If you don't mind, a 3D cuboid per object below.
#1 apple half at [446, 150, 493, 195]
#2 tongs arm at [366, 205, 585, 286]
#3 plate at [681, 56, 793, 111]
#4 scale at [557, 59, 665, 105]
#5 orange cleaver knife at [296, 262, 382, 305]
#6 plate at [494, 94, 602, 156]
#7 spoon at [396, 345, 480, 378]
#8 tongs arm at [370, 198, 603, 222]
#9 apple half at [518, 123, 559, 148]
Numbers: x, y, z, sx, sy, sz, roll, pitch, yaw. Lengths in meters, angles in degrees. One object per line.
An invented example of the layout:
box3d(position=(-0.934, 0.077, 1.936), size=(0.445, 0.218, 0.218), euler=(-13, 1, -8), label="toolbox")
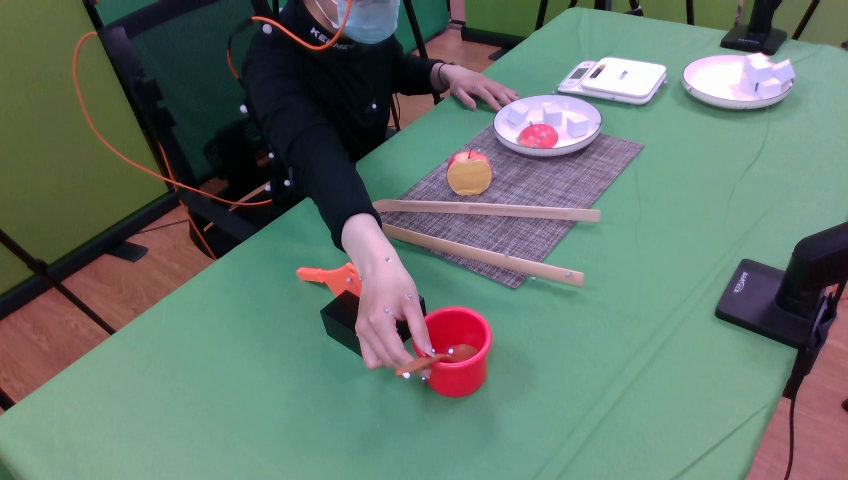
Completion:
box3d(position=(0.080, -0.123, 1.065), size=(0.081, 0.075, 0.053), euler=(-7, 37, 6), label="apple half")
box3d(position=(0.067, 0.004, 0.951), size=(0.382, 0.026, 0.051), euler=(13, 46, 24), label="tongs arm")
box3d(position=(0.636, -0.317, 1.239), size=(0.207, 0.039, 0.206), euler=(-4, 40, 4), label="plate")
box3d(position=(0.407, -0.348, 1.314), size=(0.199, 0.032, 0.149), euler=(19, 47, 28), label="scale")
box3d(position=(-0.127, 0.064, 0.874), size=(0.012, 0.077, 0.210), euler=(-43, 21, -28), label="orange cleaver knife")
box3d(position=(0.240, -0.220, 1.181), size=(0.209, 0.038, 0.208), euler=(-4, 41, 4), label="plate")
box3d(position=(0.017, 0.142, 0.715), size=(0.041, 0.021, 0.195), euler=(23, 5, 27), label="spoon")
box3d(position=(0.098, -0.048, 1.008), size=(0.386, 0.028, 0.028), euler=(3, 46, 13), label="tongs arm")
box3d(position=(0.221, -0.207, 1.160), size=(0.081, 0.033, 0.081), euler=(-6, 43, 6), label="apple half")
